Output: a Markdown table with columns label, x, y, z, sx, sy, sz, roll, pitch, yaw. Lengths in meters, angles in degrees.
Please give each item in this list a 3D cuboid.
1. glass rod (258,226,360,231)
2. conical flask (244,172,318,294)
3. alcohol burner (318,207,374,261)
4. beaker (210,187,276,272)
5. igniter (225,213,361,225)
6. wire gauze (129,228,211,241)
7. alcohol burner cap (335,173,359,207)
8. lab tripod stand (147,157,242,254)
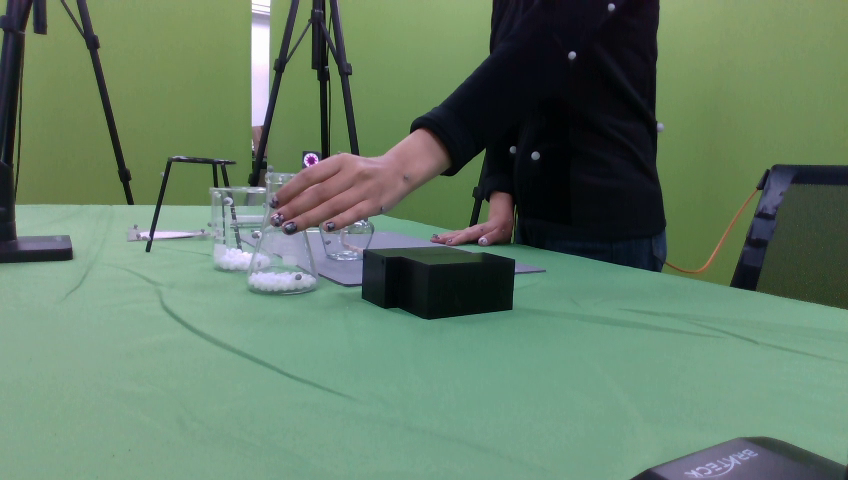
| label | x | y | z | sx | sy | sz | roll | pitch | yaw |
| --- | --- | --- | --- | --- | --- | --- | --- | --- | --- |
| glass rod | -0.215 | -0.022 | 1.151 | 0.201 | 0.008 | 0.008 | -2 | 8 | -28 |
| conical flask | -0.147 | -0.009 | 0.627 | 0.075 | 0.122 | 0.075 | 3 | 7 | 0 |
| alcohol burner | -0.107 | -0.032 | 0.834 | 0.078 | 0.119 | 0.078 | 1 | 6 | 0 |
| beaker | -0.224 | -0.014 | 0.738 | 0.084 | 0.100 | 0.074 | 4 | 7 | 16 |
| igniter | -0.257 | -0.042 | 1.221 | 0.278 | 0.025 | 0.057 | -2 | -2 | -32 |
| wire gauze | -0.419 | -0.010 | 0.999 | 0.122 | 0.011 | 0.124 | 0 | 6 | -25 |
| alcohol burner cap | -0.108 | -0.068 | 0.829 | 0.034 | 0.048 | 0.034 | -7 | 4 | 1 |
| lab tripod stand | -0.310 | -0.050 | 0.858 | 0.148 | 0.131 | 0.148 | 4 | 6 | 0 |
